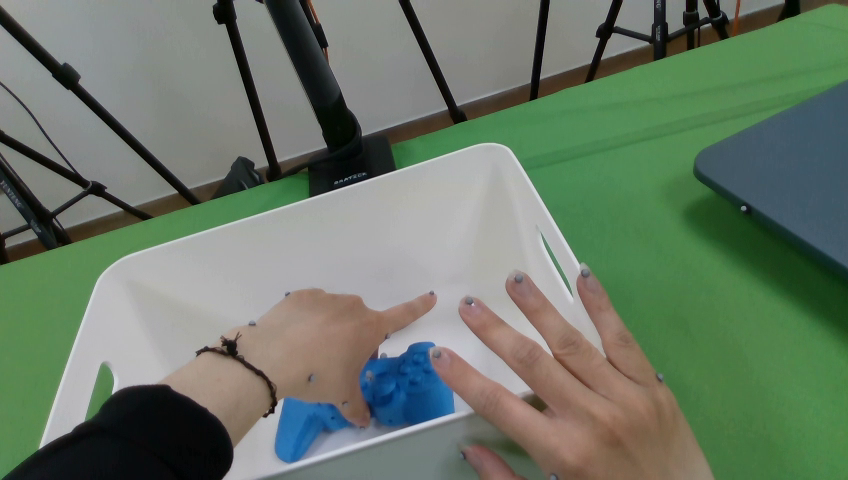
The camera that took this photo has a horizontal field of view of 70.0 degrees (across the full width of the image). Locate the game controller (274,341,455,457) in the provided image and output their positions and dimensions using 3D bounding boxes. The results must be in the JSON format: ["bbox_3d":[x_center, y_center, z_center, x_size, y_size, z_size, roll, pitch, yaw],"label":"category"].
[{"bbox_3d":[-0.049,0.130,0.513,0.155,0.052,0.096,-5,38,12],"label":"game controller"}]

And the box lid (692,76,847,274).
[{"bbox_3d":[0.440,-0.038,0.495,0.263,0.015,0.367,-25,41,-9],"label":"box lid"}]

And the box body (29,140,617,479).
[{"bbox_3d":[-0.062,0.097,0.474,0.364,0.162,0.251,-18,40,1],"label":"box body"}]
